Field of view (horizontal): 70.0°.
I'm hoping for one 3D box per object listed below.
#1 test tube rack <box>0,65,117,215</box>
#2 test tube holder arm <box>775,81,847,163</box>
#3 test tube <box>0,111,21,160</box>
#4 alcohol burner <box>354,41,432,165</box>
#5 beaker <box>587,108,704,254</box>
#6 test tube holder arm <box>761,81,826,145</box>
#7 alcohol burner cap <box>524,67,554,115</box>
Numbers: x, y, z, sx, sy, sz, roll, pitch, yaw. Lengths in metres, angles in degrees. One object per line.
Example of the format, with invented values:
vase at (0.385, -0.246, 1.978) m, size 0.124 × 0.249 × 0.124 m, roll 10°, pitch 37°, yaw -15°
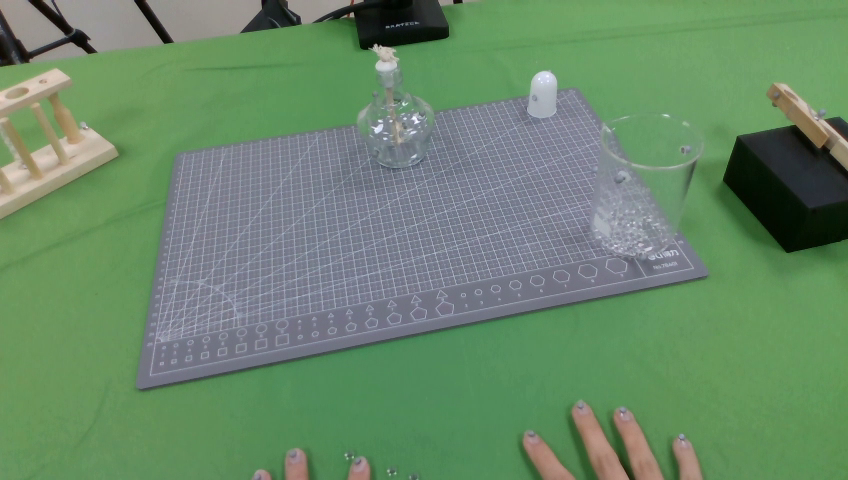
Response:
test tube rack at (-0.440, -0.072, 0.585) m, size 0.066 × 0.086 × 0.242 m, roll 31°, pitch 55°, yaw 30°
test tube holder arm at (0.342, -0.084, 0.505) m, size 0.013 × 0.015 × 0.176 m, roll -7°, pitch 44°, yaw -8°
test tube at (-0.424, -0.141, 0.581) m, size 0.017 × 0.151 × 0.017 m, roll -2°, pitch 43°, yaw 2°
alcohol burner at (-0.032, -0.134, 0.586) m, size 0.078 × 0.120 × 0.077 m, roll -4°, pitch 44°, yaw 4°
beaker at (0.171, -0.046, 0.491) m, size 0.074 × 0.101 × 0.083 m, roll -32°, pitch 50°, yaw -24°
test tube holder arm at (0.329, -0.114, 0.536) m, size 0.010 × 0.015 × 0.087 m, roll -6°, pitch 44°, yaw -7°
alcohol burner cap at (0.124, -0.162, 0.651) m, size 0.034 × 0.048 × 0.033 m, roll -2°, pitch 45°, yaw 3°
